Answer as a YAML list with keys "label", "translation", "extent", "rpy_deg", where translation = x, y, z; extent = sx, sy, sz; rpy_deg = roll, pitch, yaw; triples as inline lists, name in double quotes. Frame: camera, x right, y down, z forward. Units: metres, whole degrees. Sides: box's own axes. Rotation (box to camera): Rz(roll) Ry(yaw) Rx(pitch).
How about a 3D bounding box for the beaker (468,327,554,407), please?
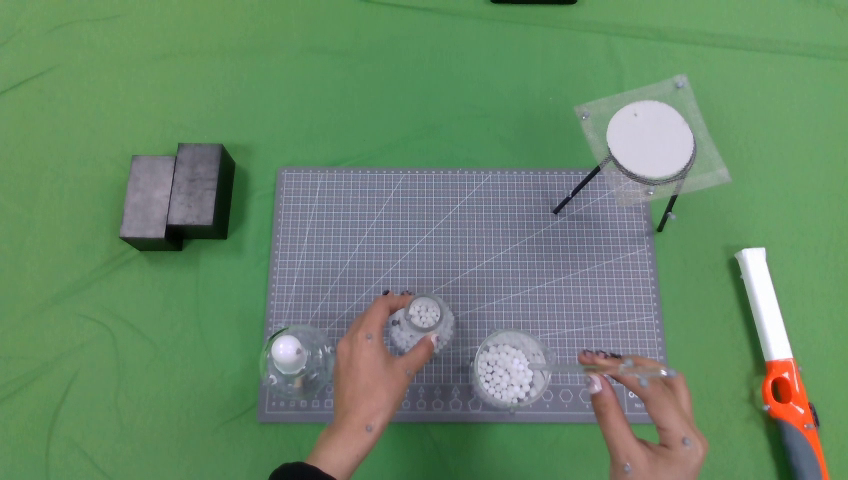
- label: "beaker"
  translation: [0.085, 0.133, 0.624]
  extent: [0.084, 0.101, 0.073]
  rpy_deg: [-18, 74, -6]

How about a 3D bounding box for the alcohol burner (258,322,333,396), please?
- label: "alcohol burner"
  translation: [-0.134, 0.119, 0.618]
  extent: [0.078, 0.120, 0.077]
  rpy_deg: [1, 71, -2]

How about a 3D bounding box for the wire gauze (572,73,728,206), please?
- label: "wire gauze"
  translation: [0.227, -0.102, 0.610]
  extent: [0.125, 0.011, 0.120]
  rpy_deg: [-15, 75, -5]

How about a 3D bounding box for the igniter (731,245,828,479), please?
- label: "igniter"
  translation: [0.388, 0.139, 0.665]
  extent: [0.057, 0.025, 0.275]
  rpy_deg: [-3, 73, -12]

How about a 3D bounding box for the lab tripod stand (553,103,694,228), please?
- label: "lab tripod stand"
  translation: [0.225, -0.078, 0.673]
  extent: [0.148, 0.132, 0.147]
  rpy_deg: [0, 74, -1]

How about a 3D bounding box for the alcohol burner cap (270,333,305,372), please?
- label: "alcohol burner cap"
  translation: [-0.133, 0.106, 0.584]
  extent: [0.034, 0.048, 0.033]
  rpy_deg: [3, 65, -6]

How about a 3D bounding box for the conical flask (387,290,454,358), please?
- label: "conical flask"
  translation: [-0.003, 0.080, 0.625]
  extent: [0.075, 0.122, 0.075]
  rpy_deg: [0, 76, -1]

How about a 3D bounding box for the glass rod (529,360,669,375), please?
- label: "glass rod"
  translation: [0.121, 0.095, 0.456]
  extent: [0.008, 0.199, 0.008]
  rpy_deg: [2, 79, -13]
